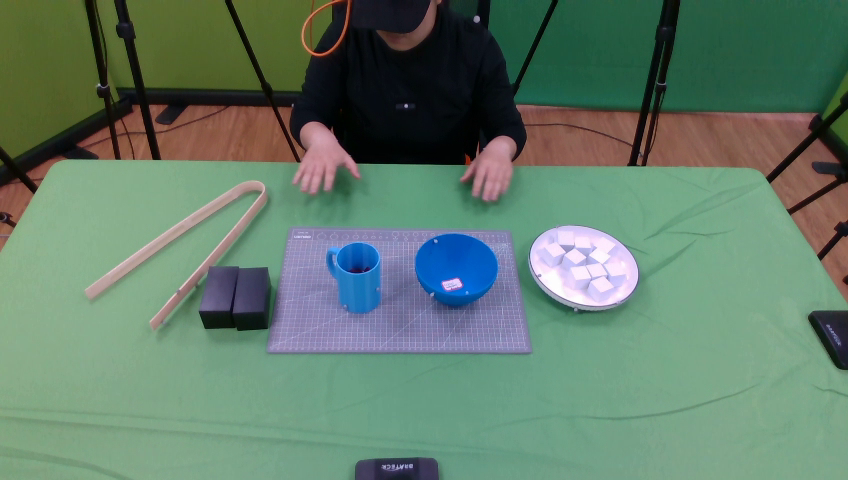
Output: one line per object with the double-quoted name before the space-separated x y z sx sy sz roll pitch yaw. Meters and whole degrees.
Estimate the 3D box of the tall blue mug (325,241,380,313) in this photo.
"tall blue mug" -0.130 0.063 1.062 0.107 0.108 0.077 9 47 5

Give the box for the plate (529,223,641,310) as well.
"plate" 0.303 0.053 1.156 0.209 0.038 0.208 2 46 -1

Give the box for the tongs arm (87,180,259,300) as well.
"tongs arm" -0.473 -0.011 1.172 0.028 0.028 0.387 22 49 29

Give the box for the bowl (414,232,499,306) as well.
"bowl" 0.056 0.065 1.095 0.151 0.077 0.150 2 46 -2

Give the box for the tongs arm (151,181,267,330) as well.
"tongs arm" -0.400 0.014 1.145 0.050 0.027 0.383 14 46 18
